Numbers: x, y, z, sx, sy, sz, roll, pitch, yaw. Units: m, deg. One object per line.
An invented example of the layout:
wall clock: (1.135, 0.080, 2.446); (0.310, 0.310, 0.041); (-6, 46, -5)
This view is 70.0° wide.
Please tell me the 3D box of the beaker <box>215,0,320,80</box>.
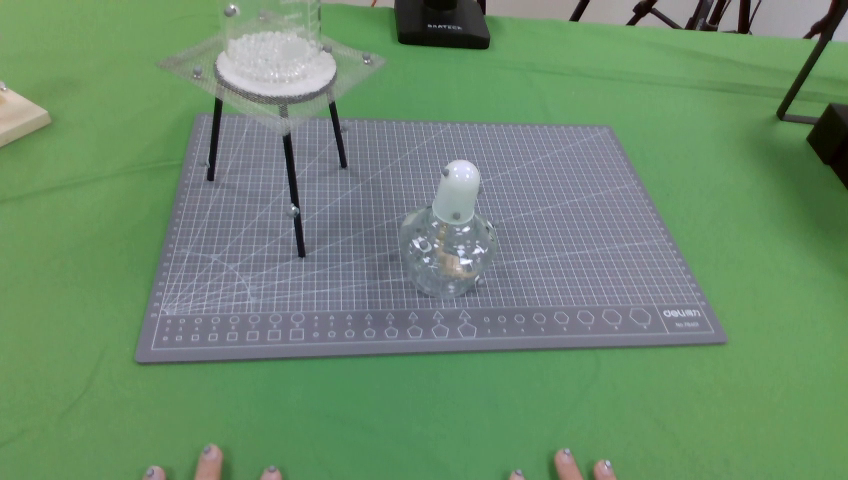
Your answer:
beaker: (-0.110, -0.170, 0.418); (0.073, 0.101, 0.084); (36, 53, 22)

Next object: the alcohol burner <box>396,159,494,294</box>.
alcohol burner: (0.019, -0.015, 0.464); (0.078, 0.120, 0.077); (6, 44, -5)

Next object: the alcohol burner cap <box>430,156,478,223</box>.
alcohol burner cap: (0.024, -0.038, 0.438); (0.034, 0.048, 0.033); (5, 50, -5)

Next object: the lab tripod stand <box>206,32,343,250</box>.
lab tripod stand: (-0.117, -0.086, 0.497); (0.149, 0.132, 0.147); (6, 46, -6)

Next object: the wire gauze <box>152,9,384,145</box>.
wire gauze: (-0.112, -0.131, 0.450); (0.124, 0.011, 0.121); (32, 52, 15)

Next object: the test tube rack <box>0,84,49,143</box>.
test tube rack: (-0.446, -0.092, 0.485); (0.066, 0.086, 0.241); (29, 48, 18)
